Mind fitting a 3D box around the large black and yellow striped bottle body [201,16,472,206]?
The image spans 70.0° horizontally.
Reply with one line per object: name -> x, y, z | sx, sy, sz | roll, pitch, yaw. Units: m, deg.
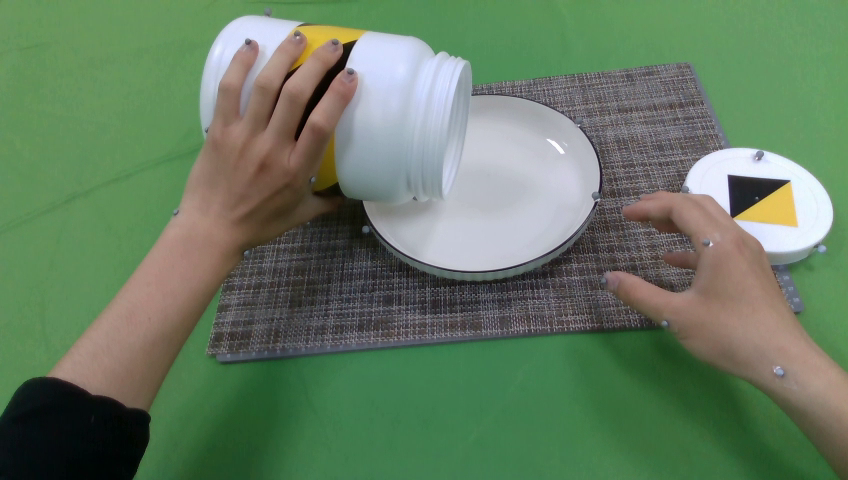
large black and yellow striped bottle body -> -0.062, -0.099, 0.481 | 0.183, 0.132, 0.130 | 11, 55, 9

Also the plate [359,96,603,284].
plate -> 0.048, -0.045, 0.529 | 0.207, 0.039, 0.205 | -4, 53, 5

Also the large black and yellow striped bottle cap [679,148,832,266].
large black and yellow striped bottle cap -> 0.272, -0.030, 0.499 | 0.115, 0.019, 0.114 | -1, 54, 2
